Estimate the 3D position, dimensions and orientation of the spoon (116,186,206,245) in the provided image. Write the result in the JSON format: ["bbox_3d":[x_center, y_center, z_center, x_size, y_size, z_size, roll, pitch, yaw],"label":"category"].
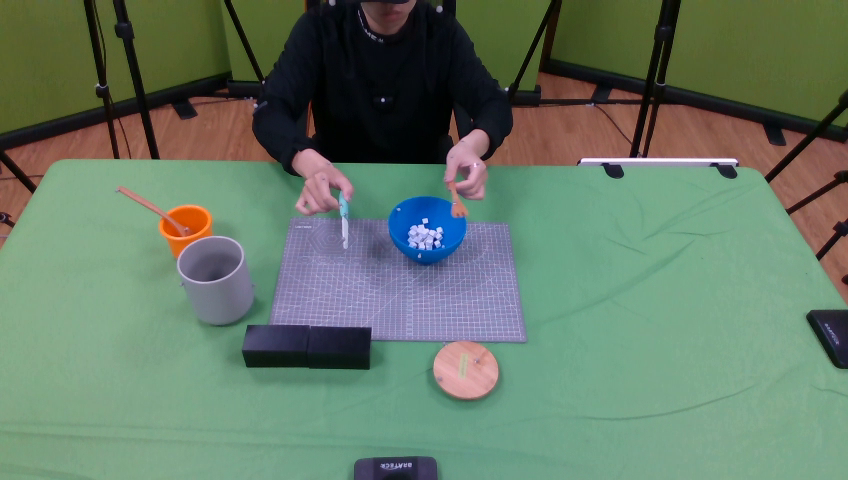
[{"bbox_3d":[-0.474,-0.041,1.112,0.021,0.195,0.041,-31,31,29],"label":"spoon"}]

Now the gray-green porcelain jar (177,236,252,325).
[{"bbox_3d":[-0.350,0.073,1.027,0.106,0.127,0.105,3,46,-3],"label":"gray-green porcelain jar"}]

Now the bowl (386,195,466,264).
[{"bbox_3d":[0.002,-0.007,1.162,0.151,0.077,0.150,3,46,-2],"label":"bowl"}]

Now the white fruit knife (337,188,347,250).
[{"bbox_3d":[-0.143,-0.041,1.079,0.016,0.027,0.206,-24,33,7],"label":"white fruit knife"}]

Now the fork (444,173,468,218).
[{"bbox_3d":[0.053,-0.083,1.082,0.028,0.019,0.206,-18,30,4],"label":"fork"}]

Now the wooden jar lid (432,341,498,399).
[{"bbox_3d":[0.067,0.216,0.997,0.108,0.021,0.107,1,46,-1],"label":"wooden jar lid"}]
